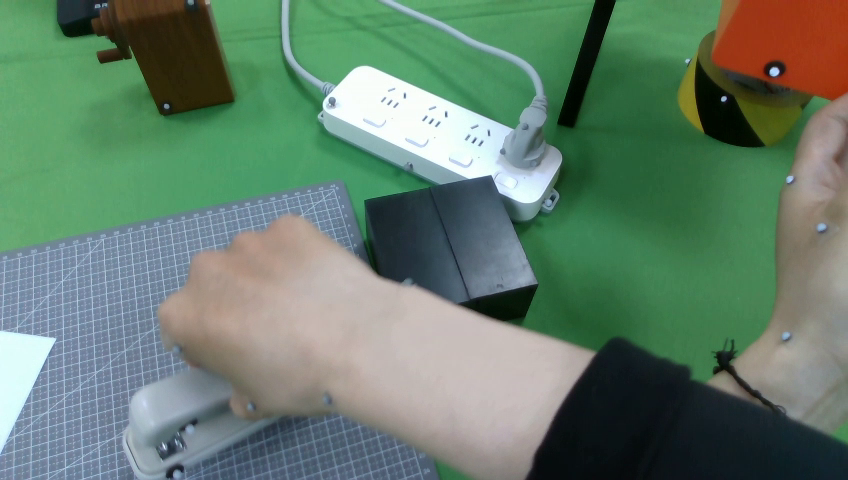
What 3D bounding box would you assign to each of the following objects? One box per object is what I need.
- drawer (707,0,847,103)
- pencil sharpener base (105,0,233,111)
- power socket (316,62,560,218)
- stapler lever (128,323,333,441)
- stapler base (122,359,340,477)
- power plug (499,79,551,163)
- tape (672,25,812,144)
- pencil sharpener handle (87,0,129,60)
[{"bbox_3d":[0.281,-0.160,0.346,0.194,0.074,0.210,20,55,9],"label":"drawer"},{"bbox_3d":[-0.216,-0.172,0.519,0.077,0.108,0.061,-17,60,-13],"label":"pencil sharpener base"},{"bbox_3d":[0.012,-0.090,0.526,0.226,0.033,0.072,27,59,14],"label":"power socket"},{"bbox_3d":[-0.109,0.078,0.352,0.118,0.040,0.026,-23,65,-30],"label":"stapler lever"},{"bbox_3d":[-0.115,0.094,0.371,0.131,0.024,0.041,-23,65,-30],"label":"stapler base"},{"bbox_3d":[0.092,-0.091,0.504,0.035,0.053,0.072,37,63,19],"label":"power plug"},{"bbox_3d":[0.300,-0.149,0.571,0.117,0.053,0.116,2,57,-2],"label":"tape"},{"bbox_3d":[-0.266,-0.170,0.498,0.031,0.068,0.036,-17,81,-13],"label":"pencil sharpener handle"}]
